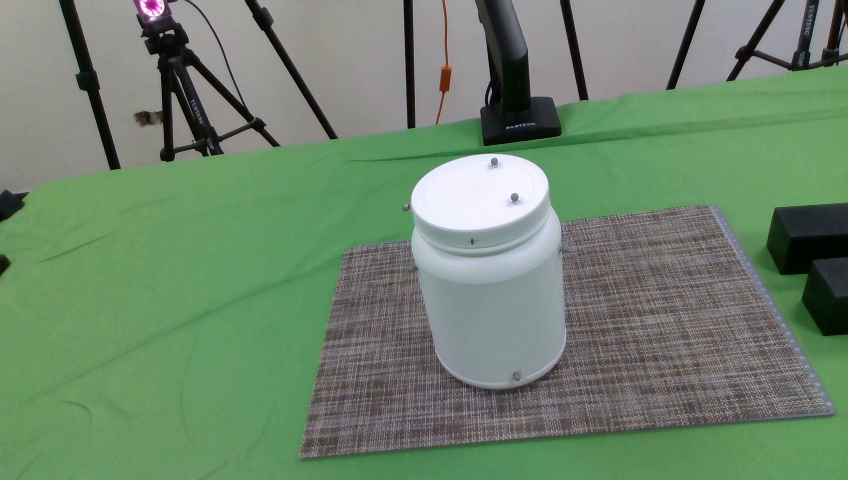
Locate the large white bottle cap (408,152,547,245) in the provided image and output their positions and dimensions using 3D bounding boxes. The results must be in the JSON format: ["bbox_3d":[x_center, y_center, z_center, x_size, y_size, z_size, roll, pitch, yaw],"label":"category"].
[{"bbox_3d":[0.043,-0.037,0.500,0.115,0.018,0.113,-8,37,6],"label":"large white bottle cap"}]

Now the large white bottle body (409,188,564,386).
[{"bbox_3d":[0.059,0.028,0.553,0.130,0.186,0.129,-8,37,6],"label":"large white bottle body"}]
